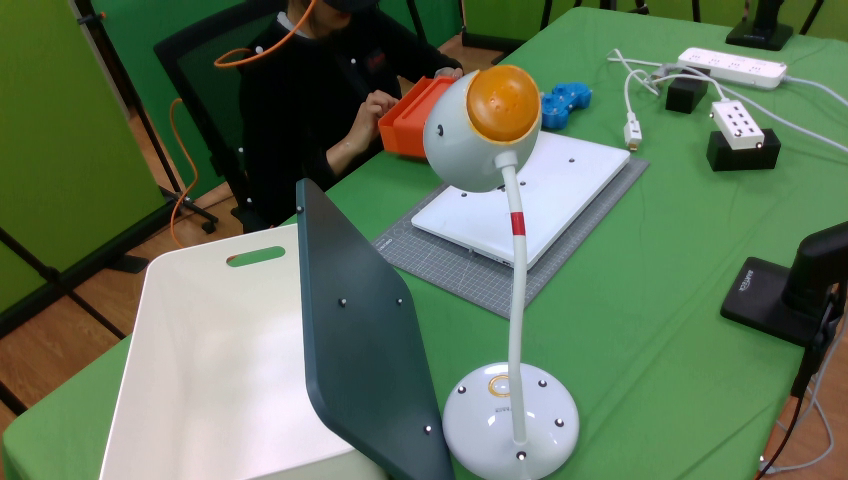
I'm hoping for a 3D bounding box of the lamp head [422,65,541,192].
[{"bbox_3d":[0.060,-0.106,0.560,0.113,0.112,0.122,-17,0,-8],"label":"lamp head"}]

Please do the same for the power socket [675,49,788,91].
[{"bbox_3d":[0.647,-0.363,1.284,0.225,0.033,0.072,26,53,35],"label":"power socket"}]

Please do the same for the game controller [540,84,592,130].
[{"bbox_3d":[0.277,-0.282,1.251,0.096,0.052,0.155,27,52,31],"label":"game controller"}]

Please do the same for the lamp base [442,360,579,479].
[{"bbox_3d":[0.094,0.158,0.657,0.161,0.181,0.178,-13,42,-5],"label":"lamp base"}]

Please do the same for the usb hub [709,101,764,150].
[{"bbox_3d":[0.534,-0.199,1.040,0.049,0.025,0.124,-5,39,8],"label":"usb hub"}]

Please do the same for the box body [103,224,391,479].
[{"bbox_3d":[-0.190,0.161,0.723,0.255,0.161,0.361,-13,40,-5],"label":"box body"}]

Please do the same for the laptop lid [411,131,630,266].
[{"bbox_3d":[0.172,-0.094,1.050,0.239,0.013,0.358,23,49,36],"label":"laptop lid"}]

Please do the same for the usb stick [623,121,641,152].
[{"bbox_3d":[0.389,-0.191,1.128,0.021,0.027,0.059,8,62,-9],"label":"usb stick"}]

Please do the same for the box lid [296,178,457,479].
[{"bbox_3d":[-0.060,0.103,0.702,0.015,0.265,0.369,-30,39,11],"label":"box lid"}]

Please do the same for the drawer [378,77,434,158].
[{"bbox_3d":[0.049,-0.237,1.185,0.210,0.073,0.194,13,45,26],"label":"drawer"}]

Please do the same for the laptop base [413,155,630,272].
[{"bbox_3d":[0.176,-0.085,1.056,0.233,0.023,0.355,21,49,35],"label":"laptop base"}]

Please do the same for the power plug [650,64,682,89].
[{"bbox_3d":[0.498,-0.341,1.263,0.035,0.052,0.072,20,10,-7],"label":"power plug"}]

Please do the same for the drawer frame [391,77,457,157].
[{"bbox_3d":[0.081,-0.232,1.170,0.212,0.083,0.202,12,43,25],"label":"drawer frame"}]
